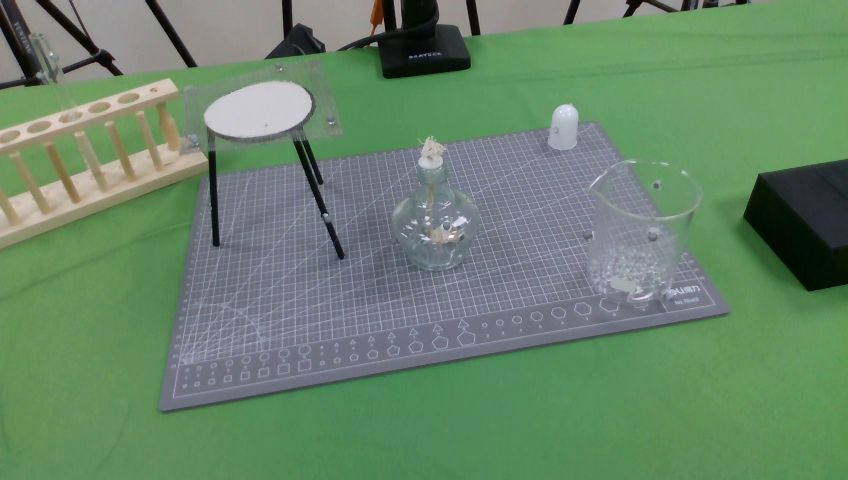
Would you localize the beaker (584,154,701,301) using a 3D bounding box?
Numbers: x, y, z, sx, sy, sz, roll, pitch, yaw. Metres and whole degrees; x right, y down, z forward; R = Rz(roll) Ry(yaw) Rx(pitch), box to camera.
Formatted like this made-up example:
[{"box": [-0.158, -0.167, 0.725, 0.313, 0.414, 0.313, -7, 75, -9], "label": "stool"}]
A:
[{"box": [0.167, -0.007, 0.486, 0.084, 0.101, 0.073, 6, 44, 12], "label": "beaker"}]

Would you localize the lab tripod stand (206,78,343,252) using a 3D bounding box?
[{"box": [-0.135, -0.064, 0.546, 0.148, 0.133, 0.147, -3, 45, 3], "label": "lab tripod stand"}]

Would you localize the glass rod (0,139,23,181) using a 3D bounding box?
[{"box": [-0.414, -0.115, 0.563, 0.008, 0.201, 0.008, -3, 46, 4], "label": "glass rod"}]

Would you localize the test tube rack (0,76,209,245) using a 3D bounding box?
[{"box": [-0.359, -0.081, 0.621, 0.242, 0.086, 0.066, -26, 47, -22], "label": "test tube rack"}]

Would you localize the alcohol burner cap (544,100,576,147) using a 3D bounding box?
[{"box": [0.149, -0.129, 0.660, 0.034, 0.048, 0.033, -2, 43, 2], "label": "alcohol burner cap"}]

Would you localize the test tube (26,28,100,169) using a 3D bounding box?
[{"box": [-0.358, -0.136, 0.606, 0.017, 0.151, 0.017, -1, 39, 1], "label": "test tube"}]

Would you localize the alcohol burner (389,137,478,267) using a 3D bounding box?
[{"box": [0.007, -0.035, 0.518, 0.078, 0.120, 0.077, -3, 41, 3], "label": "alcohol burner"}]

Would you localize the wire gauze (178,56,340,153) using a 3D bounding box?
[{"box": [-0.140, -0.113, 0.499, 0.125, 0.011, 0.120, -13, 44, -8], "label": "wire gauze"}]
